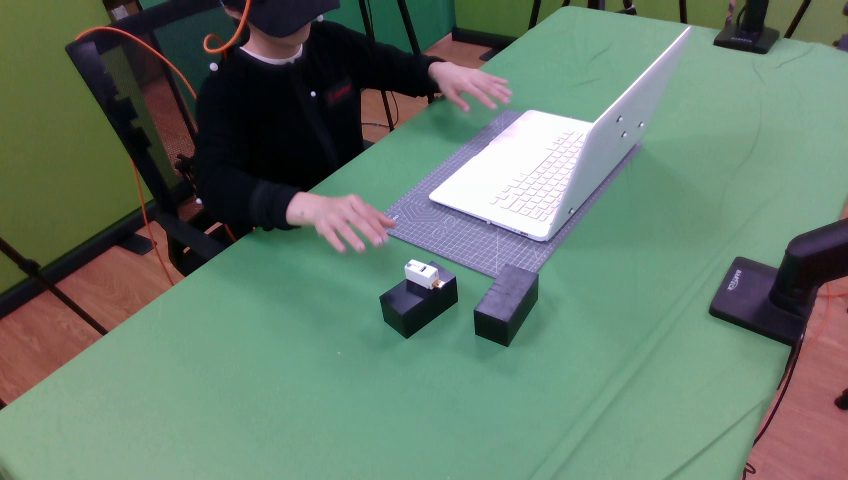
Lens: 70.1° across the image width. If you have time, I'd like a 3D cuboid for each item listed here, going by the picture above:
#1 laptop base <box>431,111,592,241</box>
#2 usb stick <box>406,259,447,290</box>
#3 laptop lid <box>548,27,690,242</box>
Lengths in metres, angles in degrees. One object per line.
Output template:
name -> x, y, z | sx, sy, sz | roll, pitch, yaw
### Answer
laptop base -> 0.206, -0.130, 1.100 | 0.233, 0.023, 0.355 | 20, 47, 34
usb stick -> 0.005, 0.050, 0.837 | 0.059, 0.027, 0.021 | 24, 48, 28
laptop lid -> 0.309, -0.168, 0.949 | 0.013, 0.242, 0.358 | 33, 52, 20
